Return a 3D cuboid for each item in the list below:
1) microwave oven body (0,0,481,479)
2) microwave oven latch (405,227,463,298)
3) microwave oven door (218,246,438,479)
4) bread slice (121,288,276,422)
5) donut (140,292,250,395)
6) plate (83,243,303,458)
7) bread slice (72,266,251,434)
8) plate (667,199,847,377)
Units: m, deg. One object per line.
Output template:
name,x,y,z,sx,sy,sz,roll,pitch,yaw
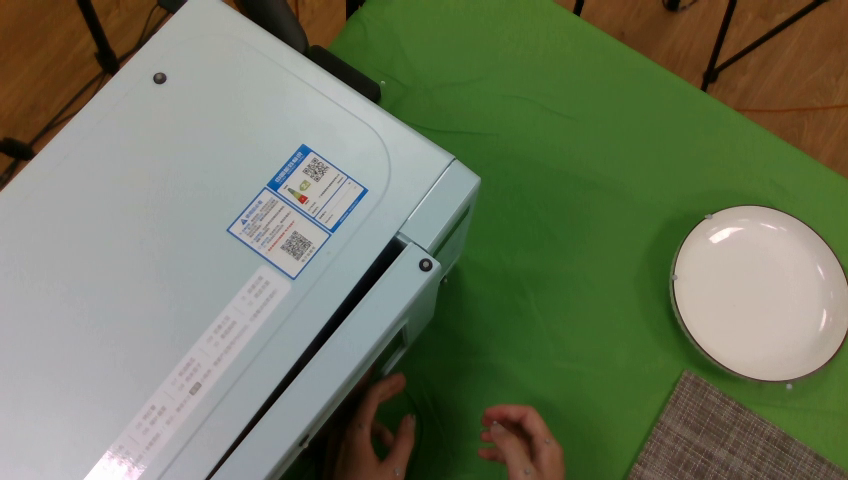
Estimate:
microwave oven body,-0.211,0.054,0.572,0.325,0.261,0.441,35,77,8
microwave oven latch,0.011,0.027,0.686,0.030,0.029,0.079,38,77,9
microwave oven door,-0.112,0.172,0.537,0.039,0.245,0.355,37,76,9
bread slice,-0.234,0.121,0.620,0.131,0.019,0.104,-34,80,-31
donut,-0.218,0.099,0.580,0.099,0.048,0.098,4,73,-13
plate,-0.225,0.107,0.606,0.209,0.038,0.208,1,77,-5
bread slice,-0.230,0.089,0.555,0.107,0.018,0.134,46,70,0
plate,0.384,0.056,0.709,0.208,0.039,0.206,1,74,-1
